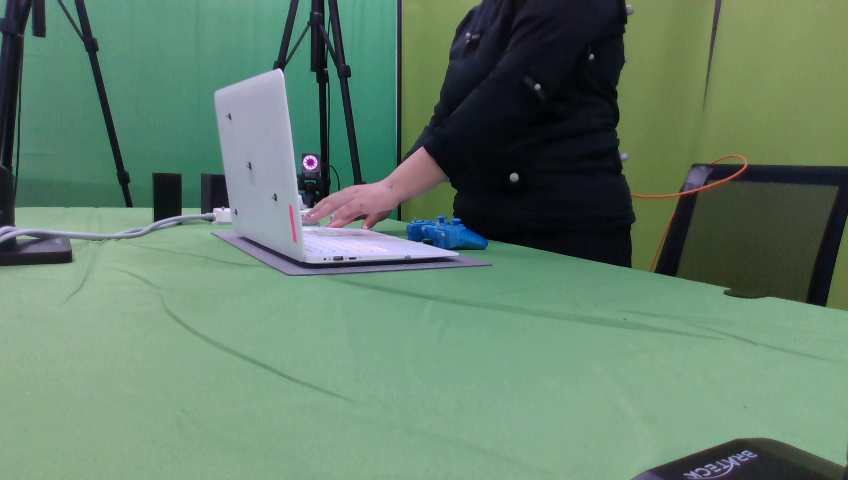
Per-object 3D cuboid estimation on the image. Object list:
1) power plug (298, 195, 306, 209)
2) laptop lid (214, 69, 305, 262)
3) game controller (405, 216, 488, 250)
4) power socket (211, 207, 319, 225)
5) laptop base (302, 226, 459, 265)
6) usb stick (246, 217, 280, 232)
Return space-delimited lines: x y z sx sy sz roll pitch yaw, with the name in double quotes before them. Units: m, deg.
"power plug" -0.283 -0.075 1.342 0.035 0.052 0.072 0 3 -18
"laptop lid" -0.246 -0.107 0.866 0.013 0.241 0.355 -11 14 -30
"game controller" 0.034 -0.013 1.067 0.097 0.051 0.154 -7 10 -29
"power socket" -0.334 -0.051 1.281 0.228 0.032 0.072 -1 9 -29
"laptop base" -0.136 0.007 0.951 0.237 0.023 0.352 2 6 -32
"usb stick" -0.297 -0.028 1.114 0.059 0.027 0.021 -3 12 -30
